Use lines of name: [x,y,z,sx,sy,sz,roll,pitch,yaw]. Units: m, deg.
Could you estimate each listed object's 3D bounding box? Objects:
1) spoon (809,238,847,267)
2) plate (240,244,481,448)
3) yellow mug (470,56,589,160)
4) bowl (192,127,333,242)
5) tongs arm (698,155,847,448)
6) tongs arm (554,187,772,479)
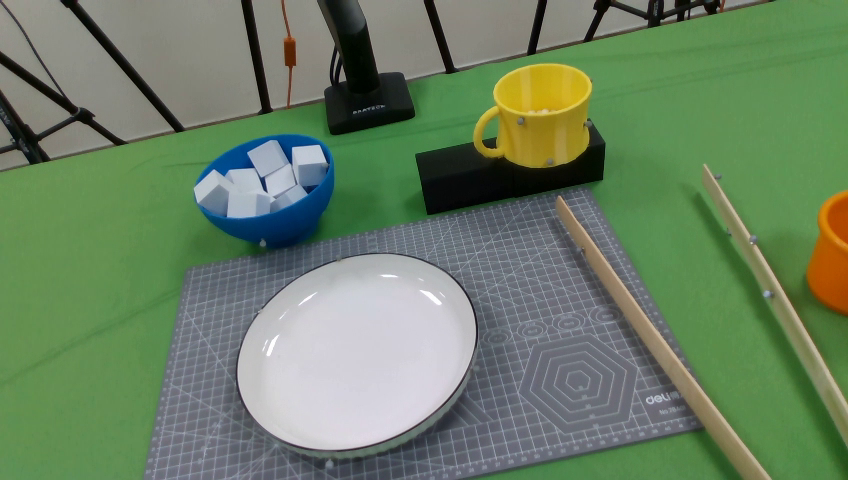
spoon: [0.372,0.003,0.448,0.041,0.193,0.021,-30,90,-13]
plate: [-0.053,0.088,0.528,0.207,0.039,0.205,-6,44,6]
yellow mug: [0.107,-0.134,0.634,0.131,0.064,0.099,-23,45,-11]
bowl: [-0.166,-0.051,0.670,0.151,0.077,0.150,-6,43,6]
tongs arm: [0.276,0.059,0.494,0.051,0.027,0.380,-7,45,2]
tongs arm: [0.195,0.077,0.494,0.028,0.028,0.383,-15,45,-10]
